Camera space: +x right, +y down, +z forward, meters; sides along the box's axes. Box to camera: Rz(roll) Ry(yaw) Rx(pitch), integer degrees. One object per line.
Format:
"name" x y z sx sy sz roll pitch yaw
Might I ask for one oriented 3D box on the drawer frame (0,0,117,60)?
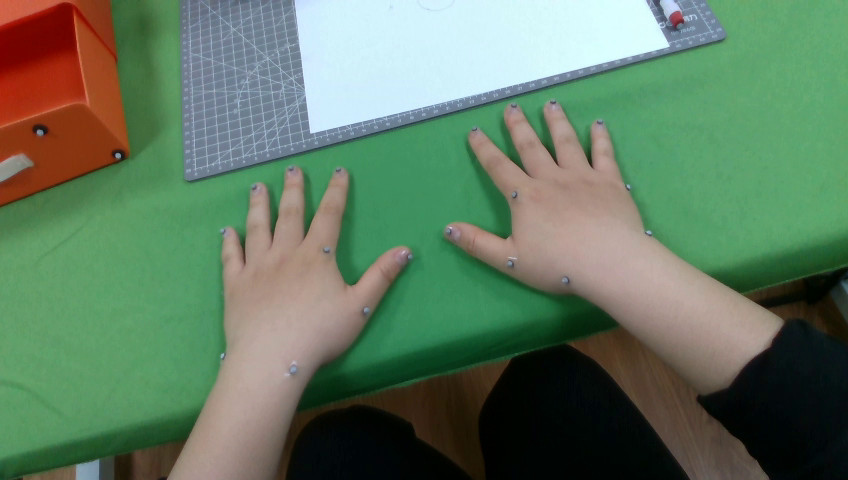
"drawer frame" -0.411 -0.228 0.574 0.202 0.083 0.211 -21 61 -2

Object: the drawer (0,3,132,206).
"drawer" -0.371 -0.132 0.521 0.194 0.074 0.209 -22 61 -2

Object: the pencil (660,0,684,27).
"pencil" 0.184 -0.255 0.533 0.012 0.012 0.192 -15 61 1
